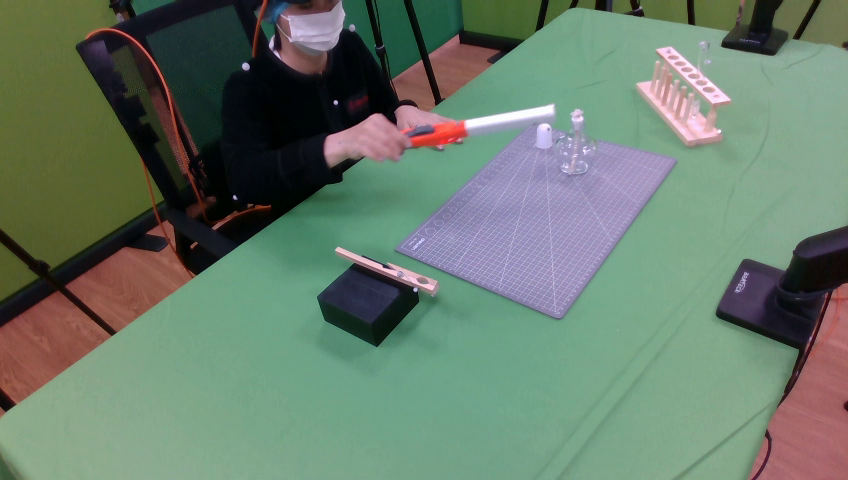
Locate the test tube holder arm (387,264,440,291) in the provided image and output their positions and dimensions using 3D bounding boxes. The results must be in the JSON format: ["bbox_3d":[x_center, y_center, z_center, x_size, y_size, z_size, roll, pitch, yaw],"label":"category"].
[{"bbox_3d":[-0.017,0.052,0.842,0.087,0.015,0.010,18,55,29],"label":"test tube holder arm"}]

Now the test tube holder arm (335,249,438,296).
[{"bbox_3d":[-0.057,0.044,0.861,0.177,0.015,0.013,18,55,28],"label":"test tube holder arm"}]

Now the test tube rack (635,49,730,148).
[{"bbox_3d":[0.497,-0.283,1.185,0.067,0.085,0.240,-10,40,-2],"label":"test tube rack"}]

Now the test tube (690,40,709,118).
[{"bbox_3d":[0.510,-0.295,1.120,0.017,0.151,0.017,-6,39,6],"label":"test tube"}]

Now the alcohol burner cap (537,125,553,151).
[{"bbox_3d":[0.232,-0.199,1.158,0.034,0.048,0.033,-5,40,5],"label":"alcohol burner cap"}]

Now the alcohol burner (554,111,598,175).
[{"bbox_3d":[0.270,-0.175,1.066,0.078,0.119,0.077,-4,42,4],"label":"alcohol burner"}]

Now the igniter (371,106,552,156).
[{"bbox_3d":[0.048,-0.158,0.889,0.276,0.057,0.025,-8,74,13],"label":"igniter"}]
